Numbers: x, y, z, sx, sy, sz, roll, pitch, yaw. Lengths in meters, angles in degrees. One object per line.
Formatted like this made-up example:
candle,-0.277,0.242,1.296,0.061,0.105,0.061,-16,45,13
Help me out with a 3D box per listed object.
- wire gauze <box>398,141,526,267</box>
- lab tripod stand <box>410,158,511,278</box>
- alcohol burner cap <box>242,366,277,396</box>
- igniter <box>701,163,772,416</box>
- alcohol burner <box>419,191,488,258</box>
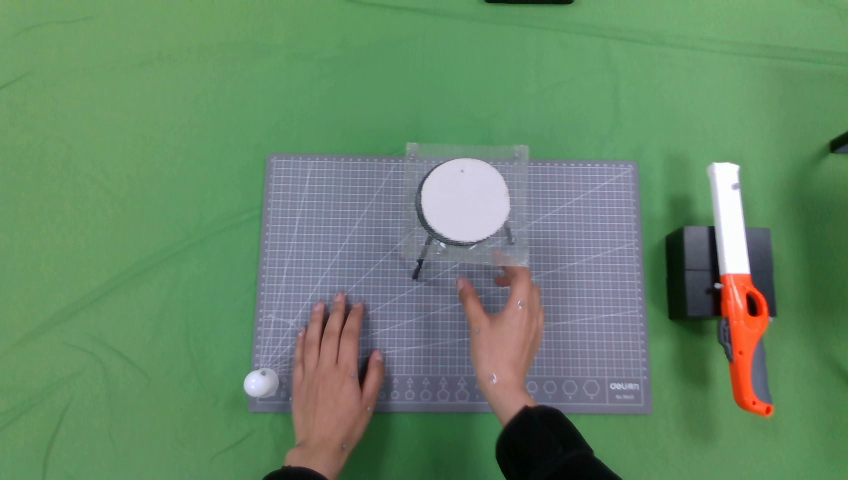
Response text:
wire gauze,0.038,-0.037,0.586,0.125,0.011,0.121,3,78,-1
lab tripod stand,0.030,-0.027,0.653,0.148,0.132,0.147,0,78,0
alcohol burner cap,-0.180,0.152,0.654,0.034,0.048,0.033,1,76,-3
igniter,0.337,0.048,0.658,0.057,0.025,0.275,0,76,-6
alcohol burner,0.033,-0.020,0.662,0.078,0.119,0.077,0,79,0
